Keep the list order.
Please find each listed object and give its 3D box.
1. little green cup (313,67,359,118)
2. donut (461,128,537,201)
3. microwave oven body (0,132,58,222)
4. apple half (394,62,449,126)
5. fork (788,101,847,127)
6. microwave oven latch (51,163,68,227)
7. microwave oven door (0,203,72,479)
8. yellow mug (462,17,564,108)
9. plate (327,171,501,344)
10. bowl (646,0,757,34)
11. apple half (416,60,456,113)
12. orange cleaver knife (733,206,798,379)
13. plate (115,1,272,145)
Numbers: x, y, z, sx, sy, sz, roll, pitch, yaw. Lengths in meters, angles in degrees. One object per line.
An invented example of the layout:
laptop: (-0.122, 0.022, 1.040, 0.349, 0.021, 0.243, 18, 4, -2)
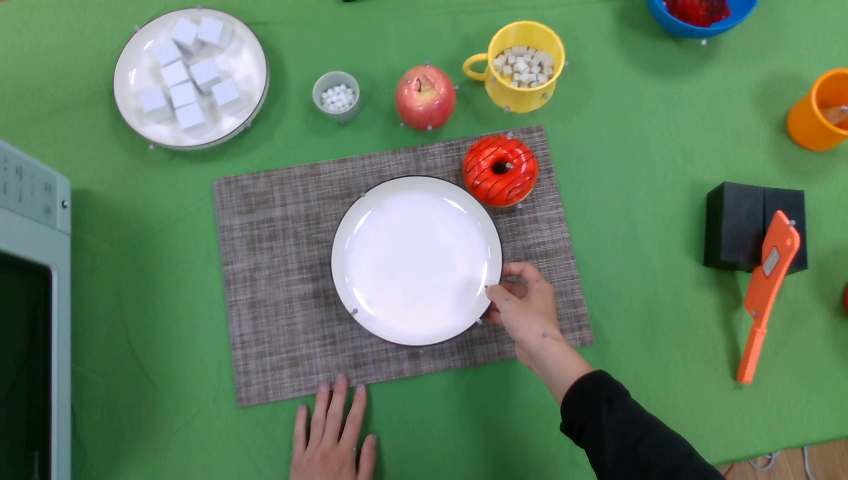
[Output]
little green cup: (-0.116, -0.197, 0.817, 0.061, 0.039, 0.061, 0, 77, 1)
donut: (0.097, -0.098, 0.787, 0.099, 0.048, 0.098, 0, 79, 2)
microwave oven body: (-0.599, 0.111, 0.636, 0.326, 0.261, 0.439, -7, 78, -2)
apple half: (-0.010, -0.184, 0.796, 0.053, 0.075, 0.080, -36, 83, -2)
fork: (0.569, -0.177, 0.750, 0.206, 0.019, 0.028, -13, 70, 43)
microwave oven latch: (-0.471, -0.056, 0.770, 0.030, 0.029, 0.079, -5, 78, -1)
microwave oven door: (-0.449, 0.134, 0.625, 0.039, 0.245, 0.354, -7, 77, -1)
yellow mug: (0.116, -0.236, 0.809, 0.131, 0.064, 0.099, 1, 77, 2)
plate: (-0.011, 0.020, 0.734, 0.209, 0.038, 0.208, 0, 81, 1)
bowl: (0.365, -0.337, 0.823, 0.151, 0.077, 0.150, 0, 78, 1)
apple half: (0.021, -0.207, 0.800, 0.033, 0.081, 0.081, -37, 79, -3)
orange cleaver knife: (0.404, 0.065, 0.731, 0.012, 0.077, 0.212, 9, 110, 4)
plate: (-0.308, -0.223, 0.824, 0.208, 0.039, 0.206, 0, 78, 0)
